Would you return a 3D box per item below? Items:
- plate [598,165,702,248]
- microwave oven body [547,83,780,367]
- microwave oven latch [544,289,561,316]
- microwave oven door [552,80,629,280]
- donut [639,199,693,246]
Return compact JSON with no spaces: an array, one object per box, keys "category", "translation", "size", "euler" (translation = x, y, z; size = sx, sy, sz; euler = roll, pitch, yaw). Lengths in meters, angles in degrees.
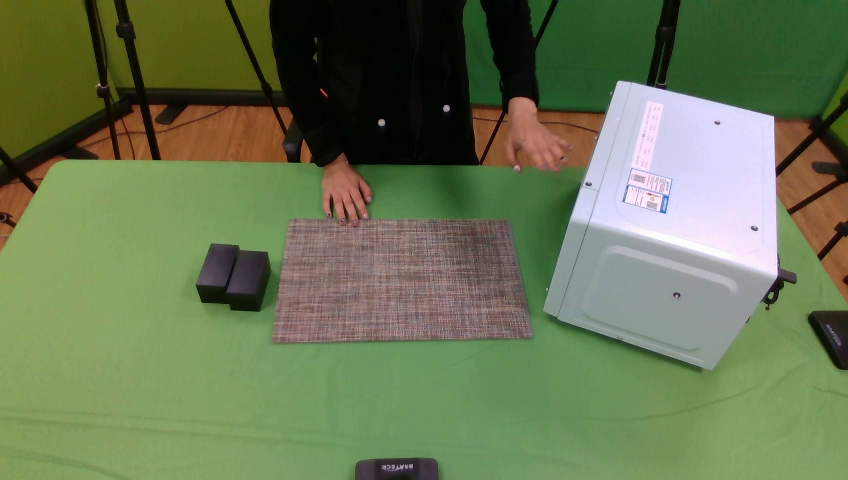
[{"category":"plate","translation":[0.432,-0.062,1.174],"size":[0.209,0.038,0.208],"euler":[9,48,-9]},{"category":"microwave oven body","translation":[0.445,-0.041,1.101],"size":[0.325,0.261,0.440],"euler":[17,47,13]},{"category":"microwave oven latch","translation":[0.237,0.099,1.087],"size":[0.030,0.029,0.079],"euler":[18,47,14]},{"category":"microwave oven door","translation":[0.324,-0.116,1.156],"size":[0.039,0.245,0.354],"euler":[18,48,13]},{"category":"donut","translation":[0.463,-0.034,1.160],"size":[0.099,0.048,0.098],"euler":[-1,61,2]}]
